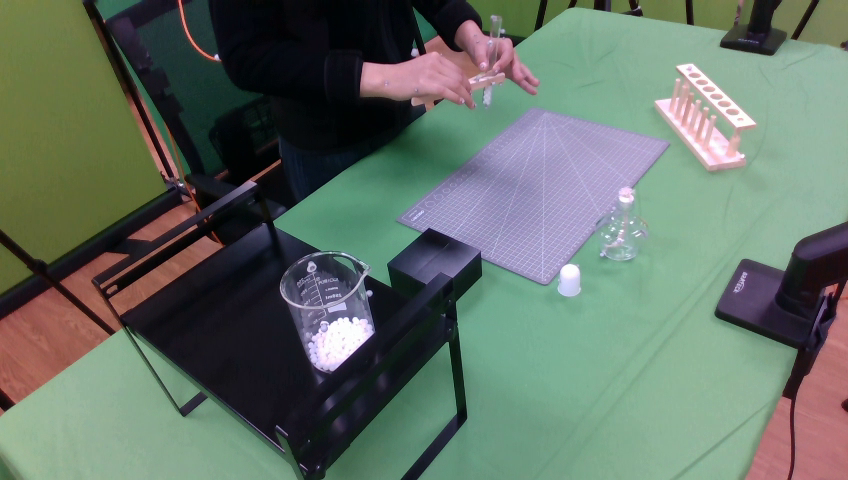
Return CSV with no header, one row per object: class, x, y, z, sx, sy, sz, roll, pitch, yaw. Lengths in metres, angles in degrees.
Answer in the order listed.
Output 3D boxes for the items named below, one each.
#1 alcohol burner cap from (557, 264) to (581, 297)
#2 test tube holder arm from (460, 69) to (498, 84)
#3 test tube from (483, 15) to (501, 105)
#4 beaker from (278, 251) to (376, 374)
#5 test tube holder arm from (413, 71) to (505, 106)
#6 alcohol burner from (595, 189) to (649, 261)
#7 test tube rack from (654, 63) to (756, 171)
alcohol burner cap,0.208,0.055,0.866,0.034,0.048,0.033,-4,41,4
test tube holder arm,0.090,-0.263,0.993,0.010,0.015,0.088,27,44,36
test tube,0.110,-0.289,0.983,0.017,0.150,0.017,1,41,-1
beaker,-0.084,0.070,0.569,0.084,0.101,0.073,-18,42,-13
test tube holder arm,0.059,-0.244,0.966,0.179,0.015,0.013,-24,39,-28
alcohol burner,0.294,-0.028,0.894,0.078,0.119,0.077,-4,43,4
test tube rack,0.510,-0.233,1.120,0.067,0.085,0.241,-8,41,-1
